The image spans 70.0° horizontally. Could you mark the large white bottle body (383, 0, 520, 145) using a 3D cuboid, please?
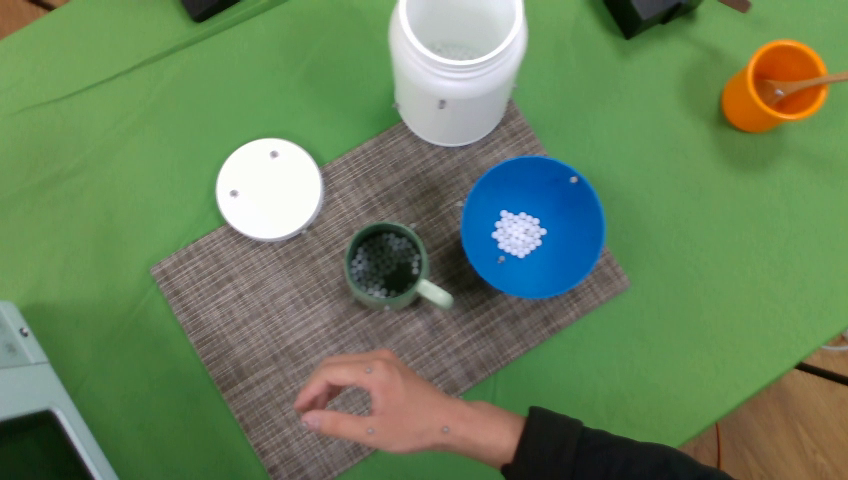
[{"bbox_3d":[0.025,-0.187,0.617,0.130,0.185,0.130,0,80,-1],"label":"large white bottle body"}]

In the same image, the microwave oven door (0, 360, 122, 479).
[{"bbox_3d":[-0.306,0.267,0.509,0.039,0.244,0.355,-34,86,-6],"label":"microwave oven door"}]

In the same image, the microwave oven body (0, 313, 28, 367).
[{"bbox_3d":[-0.451,0.312,0.501,0.326,0.260,0.441,-33,87,-7],"label":"microwave oven body"}]

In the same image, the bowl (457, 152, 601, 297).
[{"bbox_3d":[0.106,-0.012,0.655,0.151,0.077,0.151,0,84,-2],"label":"bowl"}]

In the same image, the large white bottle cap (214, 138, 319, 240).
[{"bbox_3d":[-0.175,-0.057,0.676,0.115,0.018,0.114,0,83,-3],"label":"large white bottle cap"}]

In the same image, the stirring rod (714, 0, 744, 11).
[{"bbox_3d":[0.278,-0.301,0.681,0.176,0.006,0.014,25,117,0],"label":"stirring rod"}]

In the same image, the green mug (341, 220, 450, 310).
[{"bbox_3d":[-0.028,0.034,0.630,0.125,0.105,0.092,31,83,1],"label":"green mug"}]

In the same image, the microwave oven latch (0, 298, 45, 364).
[{"bbox_3d":[-0.428,0.097,0.623,0.030,0.029,0.079,-34,87,-7],"label":"microwave oven latch"}]

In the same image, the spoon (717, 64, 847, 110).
[{"bbox_3d":[0.424,-0.176,0.657,0.022,0.192,0.041,16,75,-45],"label":"spoon"}]
